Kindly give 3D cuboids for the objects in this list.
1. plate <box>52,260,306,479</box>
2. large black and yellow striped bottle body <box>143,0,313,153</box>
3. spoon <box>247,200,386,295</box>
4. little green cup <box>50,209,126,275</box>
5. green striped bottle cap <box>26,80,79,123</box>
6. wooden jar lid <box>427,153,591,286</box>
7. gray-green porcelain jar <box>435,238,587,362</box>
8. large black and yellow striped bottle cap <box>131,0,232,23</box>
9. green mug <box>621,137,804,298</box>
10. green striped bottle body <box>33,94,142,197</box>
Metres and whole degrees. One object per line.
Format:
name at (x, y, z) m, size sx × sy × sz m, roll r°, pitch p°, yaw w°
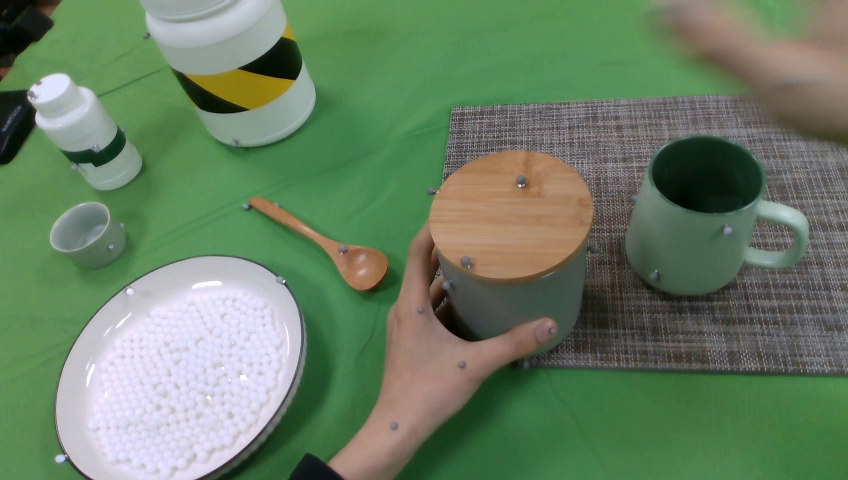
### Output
plate at (-0.195, 0.111, 0.503) m, size 0.209 × 0.038 × 0.207 m, roll -5°, pitch 53°, yaw 7°
large black and yellow striped bottle body at (-0.205, -0.198, 0.636) m, size 0.130 × 0.186 × 0.129 m, roll -5°, pitch 54°, yaw 7°
spoon at (-0.108, -0.001, 0.577) m, size 0.192 × 0.022 × 0.041 m, roll 30°, pitch 80°, yaw 28°
little green cup at (-0.334, 0.004, 0.606) m, size 0.061 × 0.039 × 0.061 m, roll -5°, pitch 53°, yaw 7°
green striped bottle cap at (-0.366, -0.136, 0.598) m, size 0.044 × 0.020 × 0.044 m, roll -3°, pitch 55°, yaw 5°
wooden jar lid at (0.056, -0.013, 0.405) m, size 0.108 × 0.021 × 0.107 m, roll -8°, pitch 54°, yaw 11°
gray-green porcelain jar at (0.066, 0.025, 0.455) m, size 0.106 × 0.128 × 0.105 m, roll -5°, pitch 53°, yaw 7°
large black and yellow striped bottle cap at (-0.220, -0.245, 0.569) m, size 0.115 × 0.019 × 0.114 m, roll -5°, pitch 52°, yaw 7°
green mug at (0.220, -0.011, 0.465) m, size 0.124 × 0.106 × 0.092 m, roll 18°, pitch 59°, yaw 22°
green striped bottle body at (-0.358, -0.105, 0.639) m, size 0.063 × 0.120 × 0.062 m, roll -5°, pitch 53°, yaw 8°
